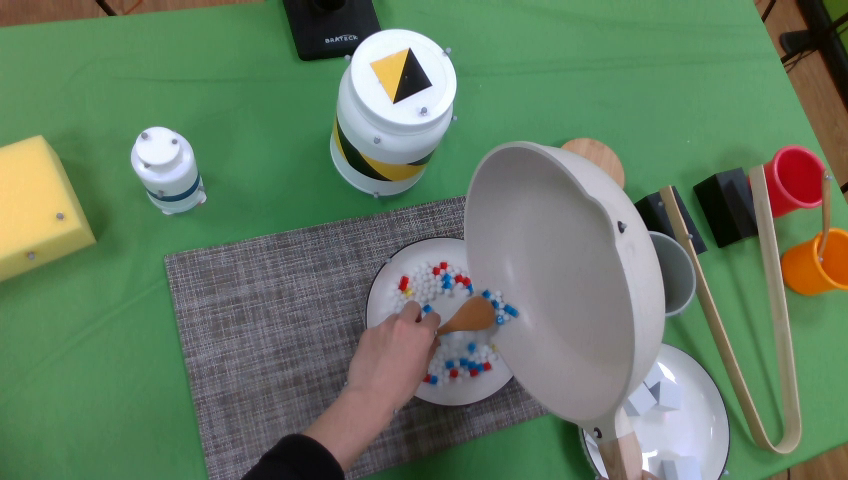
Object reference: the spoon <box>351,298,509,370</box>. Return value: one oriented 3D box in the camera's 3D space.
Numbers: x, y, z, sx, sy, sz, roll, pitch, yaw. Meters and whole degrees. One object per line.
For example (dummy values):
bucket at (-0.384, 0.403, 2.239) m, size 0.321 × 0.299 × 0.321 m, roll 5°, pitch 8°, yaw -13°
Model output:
spoon at (0.011, 0.109, 0.677) m, size 0.194 × 0.021 × 0.042 m, roll -17°, pitch 106°, yaw -13°

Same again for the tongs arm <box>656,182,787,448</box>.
tongs arm at (0.397, 0.099, 0.809) m, size 0.051 × 0.026 × 0.384 m, roll -18°, pitch 89°, yaw -19°

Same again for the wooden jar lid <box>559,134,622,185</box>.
wooden jar lid at (0.230, -0.099, 0.864) m, size 0.109 × 0.021 × 0.108 m, roll 4°, pitch 75°, yaw -13°

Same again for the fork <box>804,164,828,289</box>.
fork at (0.554, -0.015, 0.851) m, size 0.028 × 0.018 × 0.209 m, roll -26°, pitch 126°, yaw -12°

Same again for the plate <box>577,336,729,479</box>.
plate at (0.287, 0.226, 0.775) m, size 0.208 × 0.039 × 0.206 m, roll 4°, pitch 73°, yaw -12°

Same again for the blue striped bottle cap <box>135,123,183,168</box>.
blue striped bottle cap at (-0.275, -0.098, 0.628) m, size 0.045 × 0.021 × 0.044 m, roll 4°, pitch 71°, yaw -10°

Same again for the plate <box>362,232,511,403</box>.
plate at (0.025, 0.093, 0.743) m, size 0.210 × 0.038 × 0.208 m, roll 4°, pitch 73°, yaw -13°

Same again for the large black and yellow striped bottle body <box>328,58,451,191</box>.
large black and yellow striped bottle body at (-0.043, -0.149, 0.723) m, size 0.131 × 0.184 × 0.130 m, roll 4°, pitch 72°, yaw -12°

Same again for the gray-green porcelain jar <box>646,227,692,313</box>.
gray-green porcelain jar at (0.256, 0.052, 0.769) m, size 0.106 × 0.127 × 0.105 m, roll 4°, pitch 73°, yaw -12°

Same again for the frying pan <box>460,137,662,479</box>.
frying pan at (0.158, 0.128, 0.594) m, size 0.103 × 0.308 × 0.484 m, roll -7°, pitch 69°, yaw -18°

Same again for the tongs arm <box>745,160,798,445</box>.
tongs arm at (0.476, 0.081, 0.834) m, size 0.028 × 0.027 × 0.386 m, roll -3°, pitch 85°, yaw -22°

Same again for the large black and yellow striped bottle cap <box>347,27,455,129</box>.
large black and yellow striped bottle cap at (-0.023, -0.173, 0.643) m, size 0.115 × 0.019 × 0.114 m, roll 4°, pitch 72°, yaw -12°

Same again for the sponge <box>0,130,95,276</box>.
sponge at (-0.482, -0.019, 0.639) m, size 0.207 × 0.061 × 0.118 m, roll -27°, pitch 82°, yaw -20°

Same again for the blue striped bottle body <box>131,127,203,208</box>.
blue striped bottle body at (-0.286, -0.084, 0.676) m, size 0.063 × 0.121 × 0.062 m, roll 4°, pitch 73°, yaw -13°
